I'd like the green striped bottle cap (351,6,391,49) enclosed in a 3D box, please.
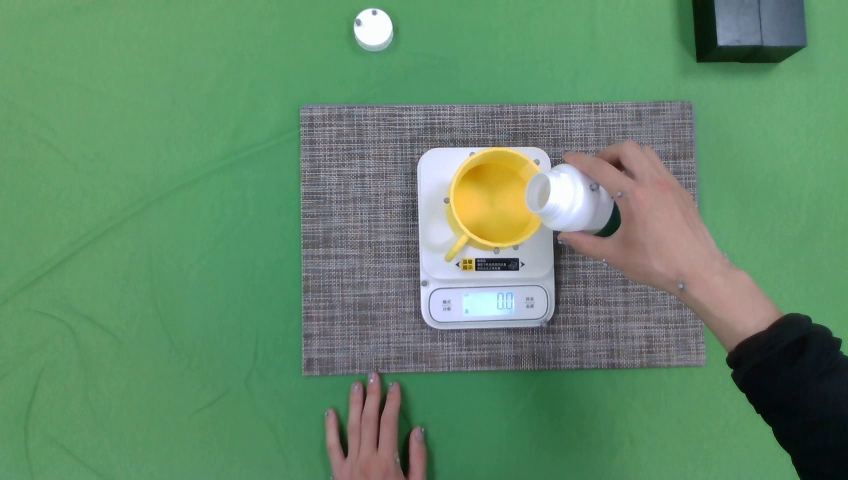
[{"bbox_3d":[-0.060,-0.243,0.691,0.044,0.020,0.044,0,89,-2],"label":"green striped bottle cap"}]

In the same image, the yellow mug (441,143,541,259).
[{"bbox_3d":[0.061,-0.032,0.622,0.100,0.064,0.131,39,87,0],"label":"yellow mug"}]

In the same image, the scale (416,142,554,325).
[{"bbox_3d":[0.067,-0.008,0.668,0.149,0.031,0.200,-2,87,-1],"label":"scale"}]

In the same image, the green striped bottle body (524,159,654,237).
[{"bbox_3d":[0.153,-0.040,0.572,0.120,0.063,0.063,7,86,-27],"label":"green striped bottle body"}]
